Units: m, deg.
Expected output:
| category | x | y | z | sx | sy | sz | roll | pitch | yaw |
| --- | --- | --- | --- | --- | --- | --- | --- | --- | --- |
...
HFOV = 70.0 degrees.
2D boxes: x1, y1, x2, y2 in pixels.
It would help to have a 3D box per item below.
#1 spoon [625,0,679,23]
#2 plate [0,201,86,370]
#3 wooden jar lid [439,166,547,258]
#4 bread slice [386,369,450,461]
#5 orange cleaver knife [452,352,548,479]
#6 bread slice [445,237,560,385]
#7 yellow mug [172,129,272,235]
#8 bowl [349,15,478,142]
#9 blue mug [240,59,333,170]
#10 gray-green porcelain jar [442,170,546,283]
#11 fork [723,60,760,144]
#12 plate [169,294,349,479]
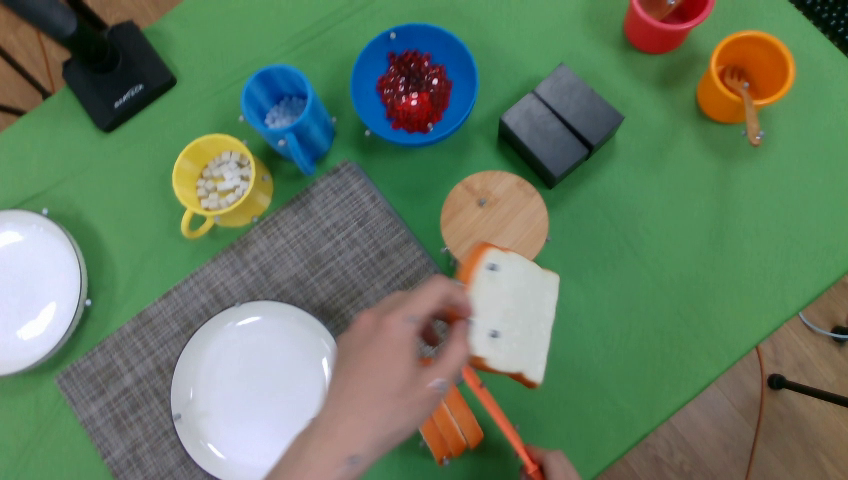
| category | x | y | z | sx | sy | sz | roll | pitch | yaw |
| --- | --- | --- | --- | --- | --- | --- | --- | --- | --- |
| spoon | 0.324 | -0.296 | 0.695 | 0.193 | 0.022 | 0.041 | -10 | 69 | 48 |
| plate | -0.513 | 0.056 | 0.748 | 0.207 | 0.039 | 0.206 | -1 | 80 | 4 |
| wooden jar lid | 0.069 | -0.021 | 0.610 | 0.108 | 0.021 | 0.108 | 0 | 79 | 2 |
| bread slice | -0.008 | 0.180 | 0.638 | 0.018 | 0.135 | 0.106 | -31 | 77 | -10 |
| orange cleaver knife | 0.085 | 0.192 | 0.613 | 0.012 | 0.077 | 0.212 | -34 | 100 | 2 |
| bread slice | 0.067 | 0.058 | 0.493 | 0.019 | 0.133 | 0.104 | 1 | 73 | 44 |
| yellow mug | -0.252 | -0.063 | 0.736 | 0.099 | 0.064 | 0.130 | 30 | 84 | 10 |
| bowl | -0.009 | -0.181 | 0.734 | 0.151 | 0.077 | 0.151 | -1 | 80 | 5 |
| blue mug | -0.157 | -0.139 | 0.724 | 0.082 | 0.106 | 0.116 | -18 | 78 | 1 |
| gray-green porcelain jar | 0.075 | -0.009 | 0.671 | 0.106 | 0.127 | 0.105 | -1 | 79 | 4 |
| fork | 0.350 | -0.156 | 0.665 | 0.028 | 0.019 | 0.206 | 25 | 38 | 2 |
| plate | -0.186 | 0.167 | 0.699 | 0.209 | 0.038 | 0.208 | -1 | 79 | 4 |
